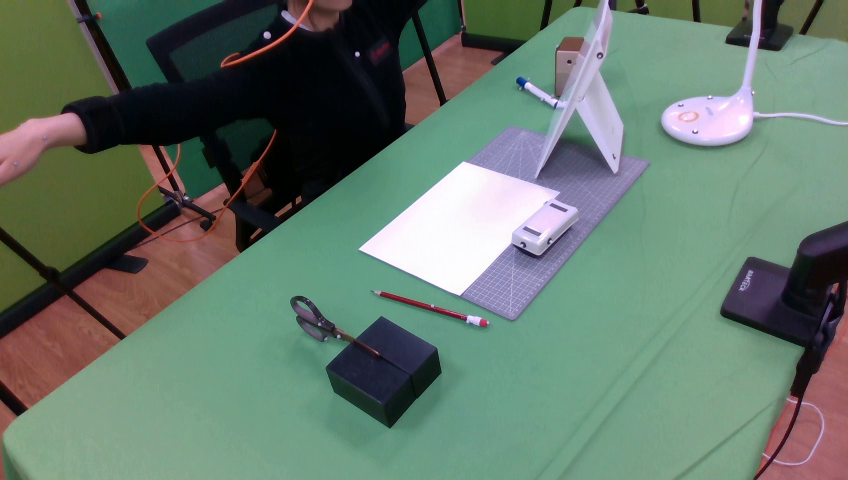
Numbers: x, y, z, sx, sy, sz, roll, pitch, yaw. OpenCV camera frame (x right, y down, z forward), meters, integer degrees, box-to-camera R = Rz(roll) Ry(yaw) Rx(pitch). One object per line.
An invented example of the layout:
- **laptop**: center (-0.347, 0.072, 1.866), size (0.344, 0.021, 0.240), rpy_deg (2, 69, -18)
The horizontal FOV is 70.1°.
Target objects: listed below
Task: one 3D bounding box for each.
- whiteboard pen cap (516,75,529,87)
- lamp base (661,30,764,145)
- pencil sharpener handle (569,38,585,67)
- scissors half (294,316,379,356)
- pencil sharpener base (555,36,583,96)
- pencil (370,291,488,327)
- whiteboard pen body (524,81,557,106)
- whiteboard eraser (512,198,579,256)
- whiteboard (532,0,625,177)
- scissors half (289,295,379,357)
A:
- **whiteboard pen cap**: center (0.221, -0.355, 1.352), size (0.018, 0.018, 0.033), rpy_deg (-24, 46, -17)
- **lamp base**: center (0.535, -0.287, 1.095), size (0.179, 0.181, 0.159), rpy_deg (-10, 40, -4)
- **pencil sharpener handle**: center (0.332, -0.413, 1.317), size (0.036, 0.068, 0.030), rpy_deg (19, 46, 13)
- **scissors half**: center (-0.119, 0.132, 0.813), size (0.174, 0.040, 0.013), rpy_deg (9, 31, 44)
- **pencil sharpener base**: center (0.317, -0.371, 1.290), size (0.061, 0.107, 0.076), rpy_deg (10, 44, 22)
- **pencil**: center (0.003, 0.097, 0.877), size (0.193, 0.012, 0.012), rpy_deg (13, 45, 26)
- **whiteboard pen body**: center (0.249, -0.321, 1.313), size (0.017, 0.017, 0.139), rpy_deg (-24, 44, -17)
- **whiteboard eraser**: center (0.191, -0.019, 0.948), size (0.055, 0.042, 0.113), rpy_deg (26, 51, 36)
- **whiteboard**: center (0.320, -0.258, 1.050), size (0.144, 0.306, 0.217), rpy_deg (21, 45, 5)
- **scissors half**: center (-0.123, 0.114, 0.803), size (0.174, 0.040, 0.013), rpy_deg (26, 48, 32)
